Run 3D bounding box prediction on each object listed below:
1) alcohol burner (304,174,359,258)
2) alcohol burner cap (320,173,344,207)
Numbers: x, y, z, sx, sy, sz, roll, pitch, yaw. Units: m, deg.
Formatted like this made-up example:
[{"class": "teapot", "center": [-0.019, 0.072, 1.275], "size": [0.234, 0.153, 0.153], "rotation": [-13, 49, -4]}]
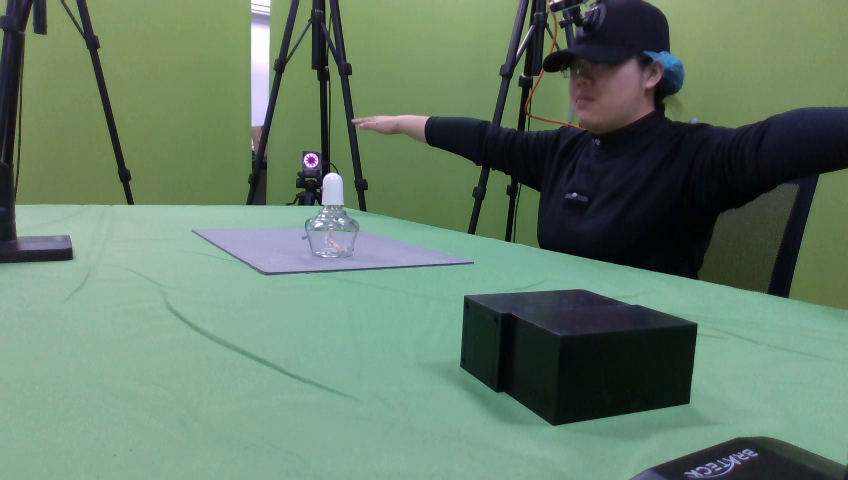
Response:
[{"class": "alcohol burner", "center": [-0.130, -0.035, 0.851], "size": [0.078, 0.119, 0.078], "rotation": [2, 5, 0]}, {"class": "alcohol burner cap", "center": [-0.129, -0.071, 0.848], "size": [0.034, 0.048, 0.034], "rotation": [1, 2, 0]}]
